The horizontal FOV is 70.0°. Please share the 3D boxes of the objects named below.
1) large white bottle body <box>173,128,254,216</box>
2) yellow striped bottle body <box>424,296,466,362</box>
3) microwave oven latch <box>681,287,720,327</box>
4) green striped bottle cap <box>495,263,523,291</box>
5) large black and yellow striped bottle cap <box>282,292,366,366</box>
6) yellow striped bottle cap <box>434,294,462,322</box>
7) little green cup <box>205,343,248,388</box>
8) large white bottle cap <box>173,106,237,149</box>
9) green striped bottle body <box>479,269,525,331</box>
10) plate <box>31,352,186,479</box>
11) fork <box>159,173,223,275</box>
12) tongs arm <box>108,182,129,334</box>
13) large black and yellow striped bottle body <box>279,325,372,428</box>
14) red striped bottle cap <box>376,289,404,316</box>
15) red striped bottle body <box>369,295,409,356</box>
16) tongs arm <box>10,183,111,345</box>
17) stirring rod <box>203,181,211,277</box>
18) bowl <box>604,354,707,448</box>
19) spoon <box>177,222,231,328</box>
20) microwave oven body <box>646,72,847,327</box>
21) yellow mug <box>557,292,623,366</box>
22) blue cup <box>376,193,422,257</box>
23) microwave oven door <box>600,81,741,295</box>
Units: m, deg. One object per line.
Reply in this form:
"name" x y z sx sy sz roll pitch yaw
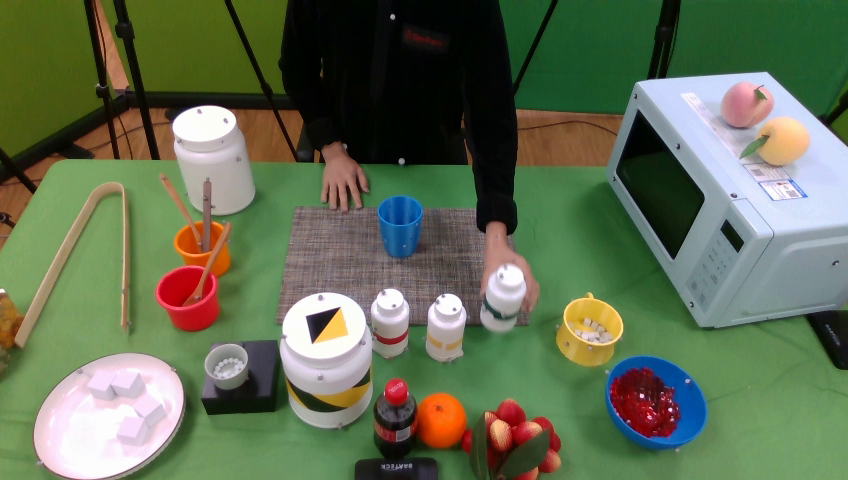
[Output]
"large white bottle body" -0.416 -0.154 1.199 0.131 0.185 0.130 2 46 -2
"yellow striped bottle body" 0.035 0.143 0.994 0.063 0.121 0.062 3 47 -3
"microwave oven latch" 0.494 0.119 1.087 0.030 0.029 0.078 -5 46 -9
"green striped bottle cap" 0.133 0.057 0.945 0.044 0.020 0.044 1 44 -1
"large black and yellow striped bottle cap" -0.138 0.121 0.841 0.115 0.019 0.114 3 47 -3
"yellow striped bottle cap" 0.038 0.107 0.959 0.044 0.019 0.044 2 45 -2
"little green cup" -0.294 0.191 0.909 0.061 0.039 0.061 1 48 -1
"large white bottle cap" -0.411 -0.212 1.138 0.115 0.018 0.114 2 47 -2
"green striped bottle body" 0.127 0.091 0.986 0.063 0.120 0.063 3 48 -3
"plate" -0.459 0.262 0.898 0.209 0.038 0.208 2 46 -2
"fork" -0.426 -0.029 1.103 0.028 0.018 0.207 -31 99 -30
"tongs arm" -0.571 0.019 1.123 0.051 0.026 0.382 -10 47 -12
"large black and yellow striped bottle body" -0.143 0.181 0.900 0.131 0.185 0.130 2 46 -2
"red striped bottle cap" -0.054 0.098 0.958 0.044 0.018 0.044 0 48 1
"red striped bottle body" -0.059 0.134 0.997 0.063 0.120 0.062 5 47 -5
"tongs arm" -0.658 0.027 1.109 0.028 0.028 0.385 -2 45 1
"stirring rod" -0.397 -0.021 1.107 0.014 0.006 0.176 0 89 -2
"bowl" 0.346 0.261 0.937 0.151 0.077 0.150 2 46 -2
"spoon" -0.369 0.059 1.027 0.041 0.022 0.193 25 94 19
"microwave oven body" 0.607 -0.089 1.164 0.326 0.261 0.438 -7 46 -10
"yellow mug" 0.286 0.146 1.051 0.100 0.064 0.130 7 45 4
"blue cup" -0.047 -0.021 1.155 0.093 0.101 0.092 1 47 -1
"microwave oven door" 0.454 -0.107 1.161 0.039 0.245 0.353 -6 47 -11
